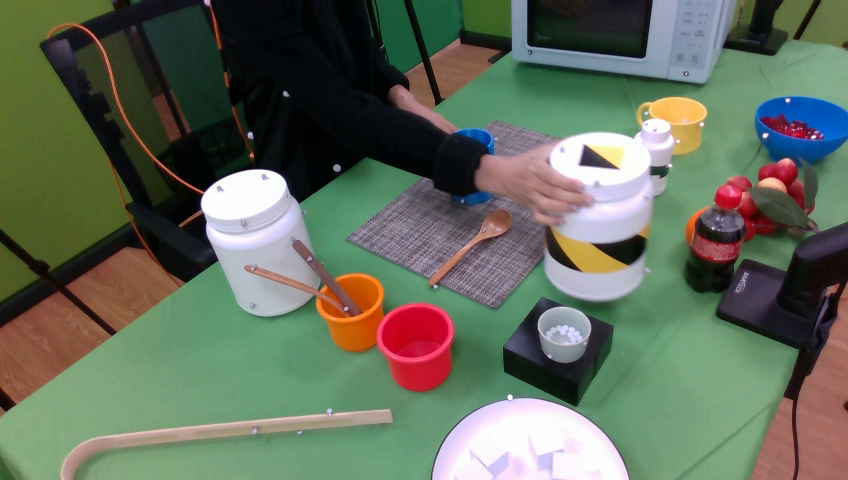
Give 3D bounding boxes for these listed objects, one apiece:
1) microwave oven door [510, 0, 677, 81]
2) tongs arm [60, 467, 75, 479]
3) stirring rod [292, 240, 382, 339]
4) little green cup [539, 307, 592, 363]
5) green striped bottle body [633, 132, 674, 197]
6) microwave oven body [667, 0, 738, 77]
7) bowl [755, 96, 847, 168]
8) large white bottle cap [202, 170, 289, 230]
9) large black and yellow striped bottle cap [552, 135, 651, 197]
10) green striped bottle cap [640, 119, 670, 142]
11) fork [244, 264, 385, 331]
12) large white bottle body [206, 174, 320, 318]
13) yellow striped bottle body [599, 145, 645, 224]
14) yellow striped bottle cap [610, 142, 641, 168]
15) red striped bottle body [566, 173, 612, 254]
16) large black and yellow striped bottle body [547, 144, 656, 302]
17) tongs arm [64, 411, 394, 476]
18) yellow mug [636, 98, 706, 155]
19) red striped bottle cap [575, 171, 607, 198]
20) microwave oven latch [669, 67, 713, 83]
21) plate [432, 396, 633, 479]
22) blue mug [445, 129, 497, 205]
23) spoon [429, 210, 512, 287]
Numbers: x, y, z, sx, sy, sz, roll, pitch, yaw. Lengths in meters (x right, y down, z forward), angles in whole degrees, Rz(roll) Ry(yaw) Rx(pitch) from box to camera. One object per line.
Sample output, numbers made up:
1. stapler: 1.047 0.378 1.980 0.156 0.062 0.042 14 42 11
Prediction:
1. microwave oven door: 0.354 -0.478 1.290 0.353 0.245 0.039 15 45 25
2. tongs arm: -0.239 0.301 0.648 0.386 0.028 0.028 6 49 16
3. stirring rod: -0.119 0.068 0.826 0.176 0.006 0.014 49 59 -4
4. little green cup: 0.168 0.114 0.721 0.061 0.039 0.061 -4 43 4
5. green striped bottle body: 0.376 -0.135 1.001 0.063 0.120 0.063 -5 40 5
6. microwave oven body: 0.462 -0.552 1.369 0.439 0.261 0.326 15 45 26
7. bowl: 0.645 -0.177 1.041 0.151 0.077 0.150 -5 40 4
8. large white bottle cap: -0.242 -0.056 0.822 0.115 0.018 0.114 -4 40 4
9. large black and yellow striped bottle cap: 0.212 -0.092 0.724 0.115 0.019 0.114 -4 39 4
10. green striped bottle cap: 0.371 -0.175 0.968 0.044 0.020 0.044 -4 42 4
11. fork: -0.142 0.077 0.807 0.209 0.018 0.028 30 39 -24
12. large white bottle body: -0.233 0.008 0.876 0.130 0.185 0.130 -4 41 4
13. yellow striped bottle body: 0.314 -0.090 0.958 0.063 0.121 0.062 -4 40 4
14. yellow striped bottle cap: 0.308 -0.131 0.925 0.044 0.019 0.044 -4 45 5
15. red striped bottle body: 0.248 -0.041 0.910 0.063 0.120 0.062 -5 41 4
16. large black and yellow striped bottle body: 0.224 -0.026 0.776 0.131 0.185 0.130 -6 39 5
17. tongs arm: -0.228 0.241 0.715 0.385 0.026 0.050 -5 43 4
18. yellow mug: 0.453 -0.217 1.128 0.100 0.064 0.129 -34 46 -27
19. red striped bottle cap: 0.242 -0.081 0.876 0.044 0.018 0.044 -4 44 4
20. microwave oven latch: 0.556 -0.349 1.261 0.078 0.029 0.030 16 46 27
21. plate: 0.112 0.261 0.634 0.209 0.038 0.208 -5 40 4
22. blue mug: 0.083 -0.137 1.056 0.082 0.106 0.116 -5 40 4
23. spoon: 0.072 0.012 0.945 0.041 0.021 0.194 41 57 17
